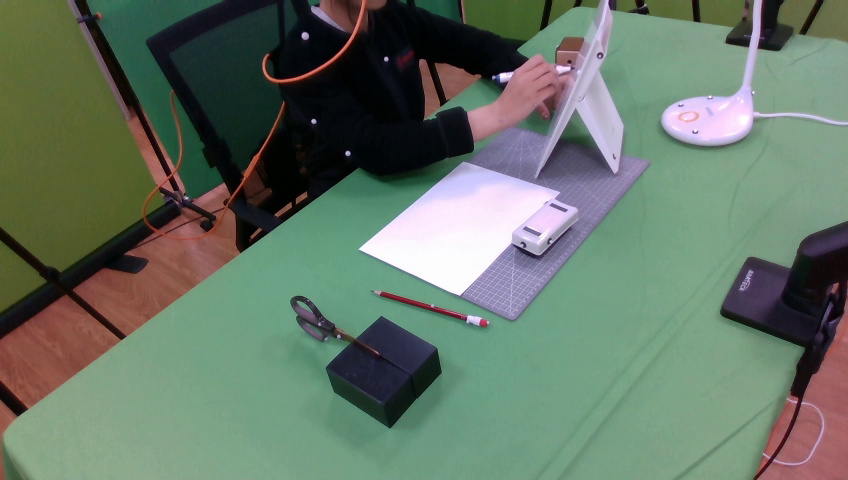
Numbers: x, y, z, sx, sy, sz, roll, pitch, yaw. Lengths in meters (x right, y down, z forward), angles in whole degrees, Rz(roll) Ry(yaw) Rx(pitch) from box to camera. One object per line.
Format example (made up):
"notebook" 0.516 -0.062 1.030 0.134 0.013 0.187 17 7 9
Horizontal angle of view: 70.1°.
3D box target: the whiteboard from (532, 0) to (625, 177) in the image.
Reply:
"whiteboard" 0.320 -0.258 1.050 0.144 0.306 0.217 21 45 5

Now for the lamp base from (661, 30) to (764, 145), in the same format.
"lamp base" 0.535 -0.287 1.096 0.179 0.181 0.159 -10 40 -4

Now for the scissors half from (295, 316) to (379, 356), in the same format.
"scissors half" -0.119 0.131 0.813 0.174 0.040 0.013 9 34 45

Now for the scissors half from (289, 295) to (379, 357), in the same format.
"scissors half" -0.122 0.114 0.803 0.174 0.040 0.013 26 50 32

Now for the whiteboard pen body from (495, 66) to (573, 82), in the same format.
"whiteboard pen body" 0.201 -0.303 1.100 0.140 0.017 0.017 -5 40 7

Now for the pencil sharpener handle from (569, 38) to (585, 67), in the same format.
"pencil sharpener handle" 0.333 -0.413 1.318 0.036 0.068 0.030 19 46 13

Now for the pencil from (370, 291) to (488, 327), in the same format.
"pencil" 0.003 0.097 0.877 0.193 0.012 0.012 13 45 26

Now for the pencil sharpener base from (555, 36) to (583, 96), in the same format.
"pencil sharpener base" 0.318 -0.371 1.290 0.061 0.107 0.076 10 44 22

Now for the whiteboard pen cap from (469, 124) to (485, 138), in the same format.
"whiteboard pen cap" 0.107 -0.220 1.224 0.033 0.018 0.018 -38 48 -23

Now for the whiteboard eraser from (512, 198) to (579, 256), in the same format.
"whiteboard eraser" 0.191 -0.019 0.949 0.055 0.042 0.113 26 51 36
